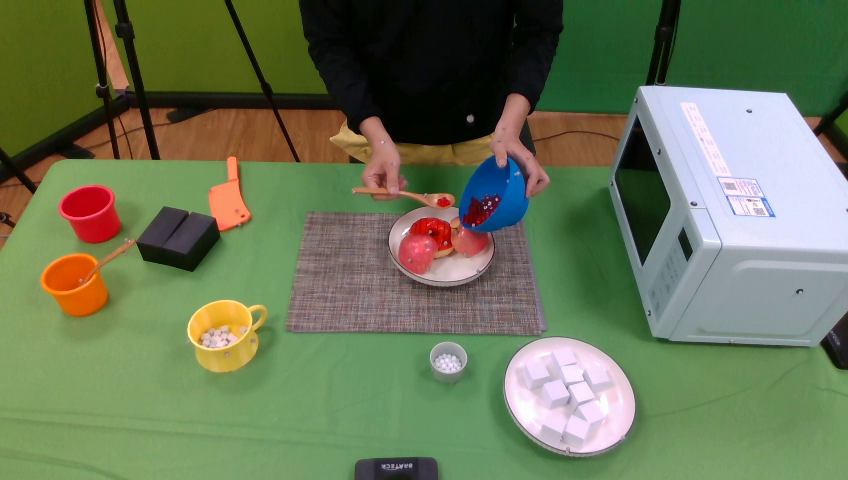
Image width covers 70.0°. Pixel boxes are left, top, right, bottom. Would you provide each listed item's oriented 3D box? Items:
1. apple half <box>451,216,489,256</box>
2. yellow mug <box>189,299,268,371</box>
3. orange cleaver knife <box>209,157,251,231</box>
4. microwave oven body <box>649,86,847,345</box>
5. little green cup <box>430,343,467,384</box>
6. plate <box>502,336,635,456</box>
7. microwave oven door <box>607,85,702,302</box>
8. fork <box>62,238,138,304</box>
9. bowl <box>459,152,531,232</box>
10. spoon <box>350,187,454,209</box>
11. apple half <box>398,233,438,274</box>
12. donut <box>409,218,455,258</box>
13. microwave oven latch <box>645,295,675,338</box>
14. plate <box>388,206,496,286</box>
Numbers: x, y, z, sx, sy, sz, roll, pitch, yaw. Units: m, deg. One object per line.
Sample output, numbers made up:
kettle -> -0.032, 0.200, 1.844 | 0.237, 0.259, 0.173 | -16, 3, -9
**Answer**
apple half -> 0.092, -0.013, 1.159 | 0.075, 0.053, 0.080 | 35, 39, -28
yellow mug -> -0.316, 0.148, 1.002 | 0.131, 0.064, 0.099 | -33, 56, -31
orange cleaver knife -> -0.409, -0.099, 1.266 | 0.077, 0.012, 0.210 | -14, 50, -10
microwave oven body -> 0.568, -0.053, 1.118 | 0.326, 0.261, 0.439 | 2, 45, -1
little green cup -> 0.039, 0.203, 0.993 | 0.061, 0.039, 0.061 | 2, 46, -2
plate -> 0.225, 0.248, 0.964 | 0.208, 0.039, 0.206 | 2, 46, -2
microwave oven door -> 0.423, -0.094, 1.141 | 0.039, 0.245, 0.353 | 2, 46, -1
fork -> -0.547, 0.053, 1.018 | 0.207, 0.019, 0.028 | -36, 41, 23
bowl -> 0.138, -0.074, 1.091 | 0.077, 0.151, 0.150 | 25, 40, -24
spoon -> -0.038, -0.082, 1.100 | 0.194, 0.022, 0.041 | 9, 46, -18
apple half -> -0.016, 0.022, 1.123 | 0.081, 0.033, 0.081 | -2, 83, 14
donut -> 0.020, -0.005, 1.174 | 0.099, 0.048, 0.098 | 2, 42, -2
microwave oven latch -> 0.412, 0.134, 1.061 | 0.030, 0.029, 0.078 | 3, 45, 0
plate -> 0.033, 0.014, 1.171 | 0.209, 0.038, 0.208 | 2, 46, -2
